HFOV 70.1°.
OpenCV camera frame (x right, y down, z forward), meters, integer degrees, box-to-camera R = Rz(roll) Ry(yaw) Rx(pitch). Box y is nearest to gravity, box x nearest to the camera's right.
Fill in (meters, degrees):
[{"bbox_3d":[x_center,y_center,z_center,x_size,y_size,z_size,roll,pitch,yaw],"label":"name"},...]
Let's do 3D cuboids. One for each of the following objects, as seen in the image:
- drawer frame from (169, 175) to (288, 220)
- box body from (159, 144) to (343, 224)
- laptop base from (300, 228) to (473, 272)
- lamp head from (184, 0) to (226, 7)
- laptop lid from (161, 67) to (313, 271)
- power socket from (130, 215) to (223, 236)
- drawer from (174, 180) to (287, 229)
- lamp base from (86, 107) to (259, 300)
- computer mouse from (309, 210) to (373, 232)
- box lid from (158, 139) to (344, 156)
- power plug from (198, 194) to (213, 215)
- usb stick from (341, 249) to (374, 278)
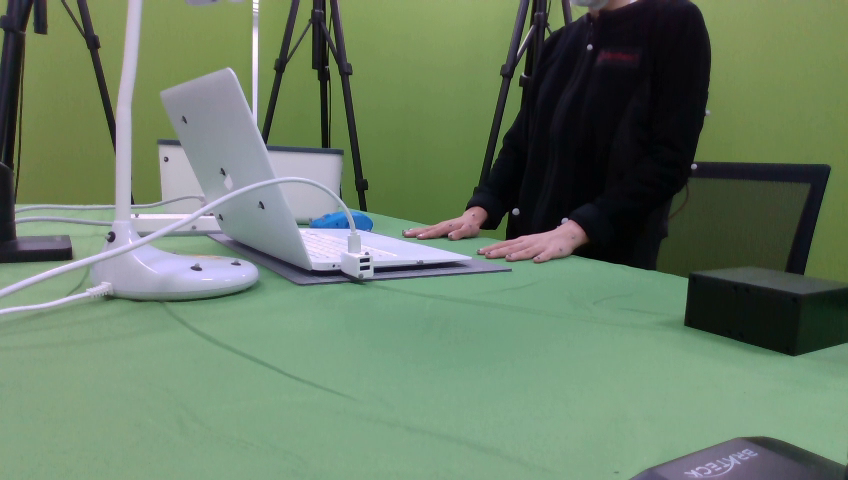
[{"bbox_3d":[-0.414,-0.096,1.320,0.214,0.082,0.201,-5,7,-8],"label":"drawer frame"},{"bbox_3d":[-0.364,-0.128,1.337,0.365,0.160,0.253,2,7,-8],"label":"box body"},{"bbox_3d":[-0.124,0.011,0.889,0.237,0.023,0.352,1,7,-35],"label":"laptop base"},{"bbox_3d":[-0.229,-0.320,0.627,0.112,0.112,0.123,6,-35,26],"label":"lamp head"},{"bbox_3d":[-0.255,-0.090,0.782,0.013,0.242,0.355,-29,24,-28],"label":"laptop lid"},{"bbox_3d":[-0.397,-0.028,1.048,0.228,0.032,0.072,-3,7,-35],"label":"power socket"},{"bbox_3d":[-0.413,-0.080,1.325,0.212,0.073,0.194,-8,11,-8],"label":"drawer"},{"bbox_3d":[-0.254,-0.039,0.603,0.160,0.180,0.179,4,10,18],"label":"lamp base"},{"bbox_3d":[-0.157,-0.034,1.139,0.118,0.041,0.062,-6,12,-28],"label":"computer mouse"},{"bbox_3d":[-0.363,-0.201,1.328,0.372,0.015,0.262,2,7,-8],"label":"box lid"},{"bbox_3d":[-0.386,-0.055,1.088,0.035,0.052,0.072,-2,7,-24],"label":"power plug"},{"bbox_3d":[-0.079,0.026,0.687,0.021,0.027,0.059,-7,9,-30],"label":"usb stick"}]
